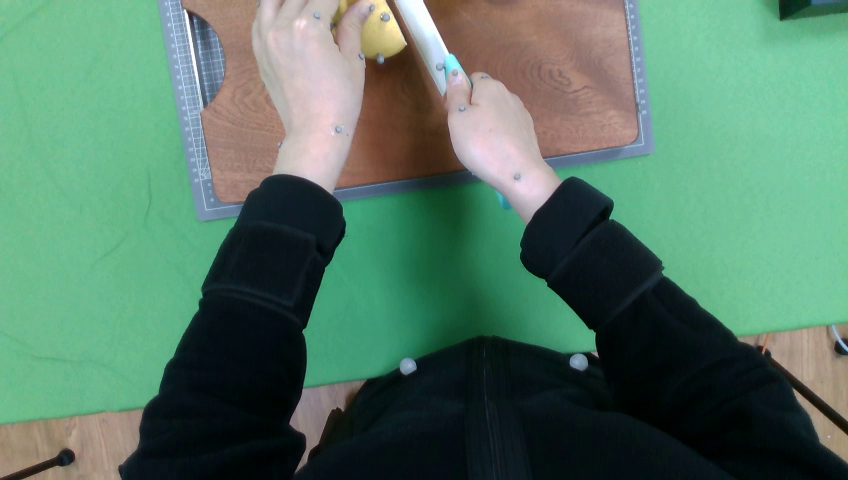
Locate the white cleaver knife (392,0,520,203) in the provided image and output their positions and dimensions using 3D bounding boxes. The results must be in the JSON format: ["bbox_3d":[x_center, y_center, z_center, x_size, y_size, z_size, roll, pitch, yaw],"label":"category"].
[{"bbox_3d":[0.010,-0.162,0.517,0.021,0.066,0.286,-24,87,-12],"label":"white cleaver knife"}]

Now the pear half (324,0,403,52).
[{"bbox_3d":[-0.056,-0.194,0.500,0.056,0.110,0.076,-33,88,4],"label":"pear half"}]
